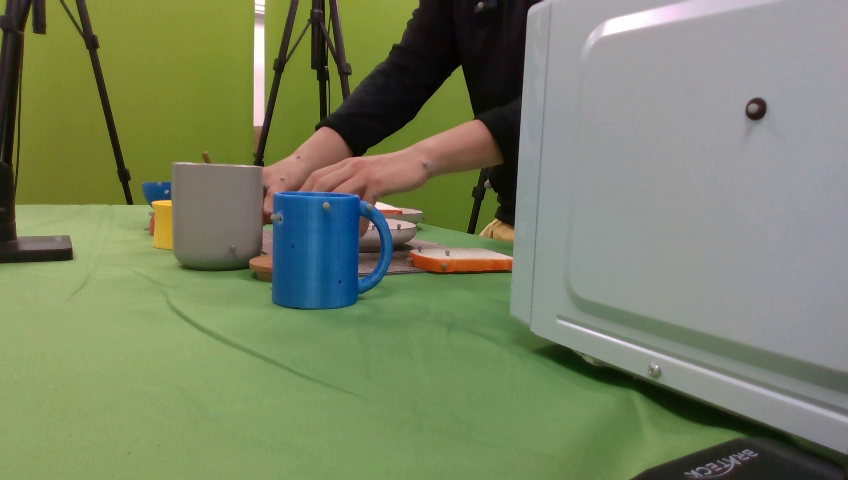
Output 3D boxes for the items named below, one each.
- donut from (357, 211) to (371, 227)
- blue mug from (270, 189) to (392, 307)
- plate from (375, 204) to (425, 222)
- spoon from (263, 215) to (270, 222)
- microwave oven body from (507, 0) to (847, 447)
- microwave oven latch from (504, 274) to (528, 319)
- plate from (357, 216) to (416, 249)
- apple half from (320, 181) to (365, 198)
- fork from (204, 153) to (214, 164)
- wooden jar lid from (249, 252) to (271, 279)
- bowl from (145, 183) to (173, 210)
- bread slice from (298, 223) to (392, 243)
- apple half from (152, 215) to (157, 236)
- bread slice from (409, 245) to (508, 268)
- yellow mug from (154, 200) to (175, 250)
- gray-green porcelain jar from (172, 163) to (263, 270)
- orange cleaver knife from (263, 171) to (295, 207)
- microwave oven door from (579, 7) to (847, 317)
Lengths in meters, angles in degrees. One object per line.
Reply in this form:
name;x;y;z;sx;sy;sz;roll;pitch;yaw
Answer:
donut;-0.131;-0.042;0.959;0.099;0.048;0.099;4;7;0
blue mug;-0.090;0.005;0.588;0.117;0.106;0.082;0;7;-11
plate;-0.102;-0.053;1.299;0.209;0.038;0.209;2;8;0
spoon;-0.200;-0.032;0.963;0.041;0.021;0.195;3;-2;32
microwave oven body;0.331;-0.042;0.425;0.444;0.260;0.324;-2;8;-31
microwave oven latch;0.100;0.041;0.471;0.079;0.029;0.030;-1;7;-28
plate;-0.116;-0.014;0.967;0.208;0.039;0.207;2;7;0
apple half;-0.130;-0.077;0.952;0.081;0.033;0.081;3;14;-1
fork;-0.480;-0.135;1.411;0.028;0.018;0.207;1;-34;0
wooden jar lid;-0.148;0.028;0.708;0.108;0.020;0.108;0;10;0
bowl;-0.459;-0.069;1.175;0.151;0.077;0.151;3;7;0
bread slice;-0.121;-0.013;0.970;0.106;0.018;0.135;9;11;41
apple half;-0.415;-0.034;1.017;0.081;0.053;0.074;1;10;-9
bread slice;0.048;0.020;0.815;0.132;0.019;0.104;-1;7;-23
yellow mug;-0.337;-0.022;0.899;0.130;0.064;0.100;8;9;34
gray-green porcelain jar;-0.254;-0.031;0.751;0.106;0.126;0.106;1;7;0
orange cleaver knife;-0.283;-0.087;1.343;0.212;0.077;0.012;24;-16;-41
microwave oven door;0.294;-0.067;0.570;0.358;0.243;0.039;-3;9;-31
